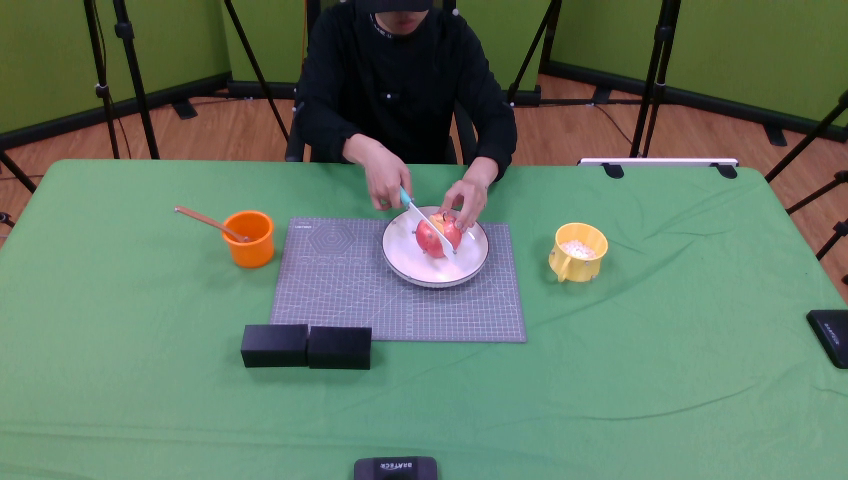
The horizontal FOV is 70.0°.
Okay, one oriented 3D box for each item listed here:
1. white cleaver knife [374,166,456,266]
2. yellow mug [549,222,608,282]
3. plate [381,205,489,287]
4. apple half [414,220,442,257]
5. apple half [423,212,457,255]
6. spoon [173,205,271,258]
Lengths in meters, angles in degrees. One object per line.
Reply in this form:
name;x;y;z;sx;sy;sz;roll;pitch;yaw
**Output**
white cleaver knife;-0.022;-0.050;1.169;0.021;0.066;0.284;-27;51;-16
yellow mug;0.287;0.031;1.159;0.099;0.064;0.130;27;51;21
plate;0.021;0.015;1.170;0.209;0.038;0.208;2;46;-2
apple half;0.002;0.005;1.142;0.033;0.082;0.081;-30;54;-16
apple half;0.031;-0.012;1.156;0.053;0.075;0.080;-13;33;-42
spoon;-0.362;-0.017;1.098;0.021;0.195;0.041;-32;42;27
